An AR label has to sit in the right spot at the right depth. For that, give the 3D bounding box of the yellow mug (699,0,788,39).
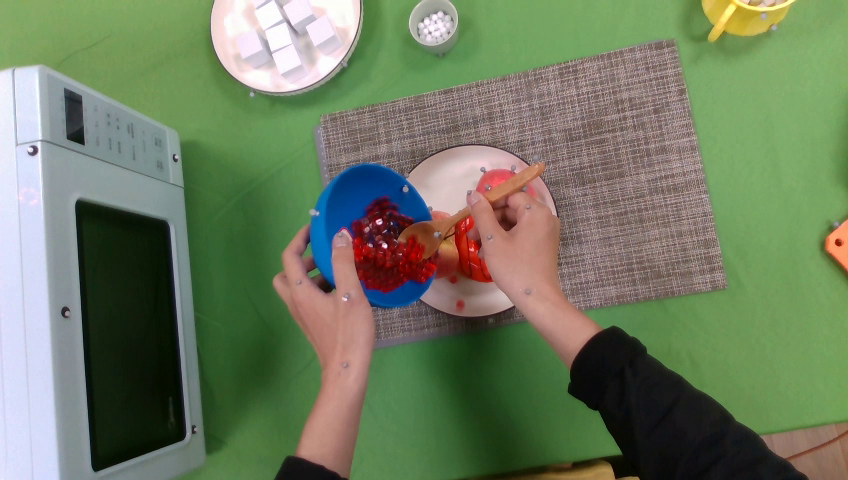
[{"bbox_3d":[0.362,-0.284,0.685,0.099,0.064,0.131,37,93,11],"label":"yellow mug"}]

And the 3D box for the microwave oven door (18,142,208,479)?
[{"bbox_3d":[-0.331,0.093,0.668,0.039,0.245,0.354,-9,83,9],"label":"microwave oven door"}]

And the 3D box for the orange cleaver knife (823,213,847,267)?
[{"bbox_3d":[0.510,0.059,0.651,0.077,0.012,0.210,-26,79,2],"label":"orange cleaver knife"}]

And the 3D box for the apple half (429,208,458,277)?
[{"bbox_3d":[-0.004,0.003,0.705,0.074,0.054,0.080,-14,78,50],"label":"apple half"}]

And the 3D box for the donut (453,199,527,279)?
[{"bbox_3d":[0.071,-0.002,0.713,0.099,0.048,0.099,0,90,11],"label":"donut"}]

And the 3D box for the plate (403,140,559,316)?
[{"bbox_3d":[0.056,-0.014,0.727,0.209,0.038,0.208,-1,85,10],"label":"plate"}]

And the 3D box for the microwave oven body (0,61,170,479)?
[{"bbox_3d":[-0.478,0.073,0.702,0.325,0.261,0.440,-9,84,9],"label":"microwave oven body"}]

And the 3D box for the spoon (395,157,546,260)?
[{"bbox_3d":[0.041,-0.030,0.605,0.193,0.022,0.041,-31,81,38],"label":"spoon"}]

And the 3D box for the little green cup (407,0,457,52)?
[{"bbox_3d":[0.013,-0.269,0.760,0.061,0.039,0.061,-1,85,11],"label":"little green cup"}]

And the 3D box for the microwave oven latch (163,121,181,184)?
[{"bbox_3d":[-0.338,-0.113,0.791,0.030,0.029,0.079,-7,84,9],"label":"microwave oven latch"}]

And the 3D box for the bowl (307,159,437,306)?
[{"bbox_3d":[-0.066,0.000,0.627,0.076,0.152,0.151,-19,80,43],"label":"bowl"}]

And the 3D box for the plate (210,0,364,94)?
[{"bbox_3d":[-0.177,-0.290,0.797,0.207,0.039,0.207,-1,85,10],"label":"plate"}]

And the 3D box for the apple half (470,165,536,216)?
[{"bbox_3d":[0.095,-0.064,0.697,0.081,0.033,0.080,2,46,-2],"label":"apple half"}]
